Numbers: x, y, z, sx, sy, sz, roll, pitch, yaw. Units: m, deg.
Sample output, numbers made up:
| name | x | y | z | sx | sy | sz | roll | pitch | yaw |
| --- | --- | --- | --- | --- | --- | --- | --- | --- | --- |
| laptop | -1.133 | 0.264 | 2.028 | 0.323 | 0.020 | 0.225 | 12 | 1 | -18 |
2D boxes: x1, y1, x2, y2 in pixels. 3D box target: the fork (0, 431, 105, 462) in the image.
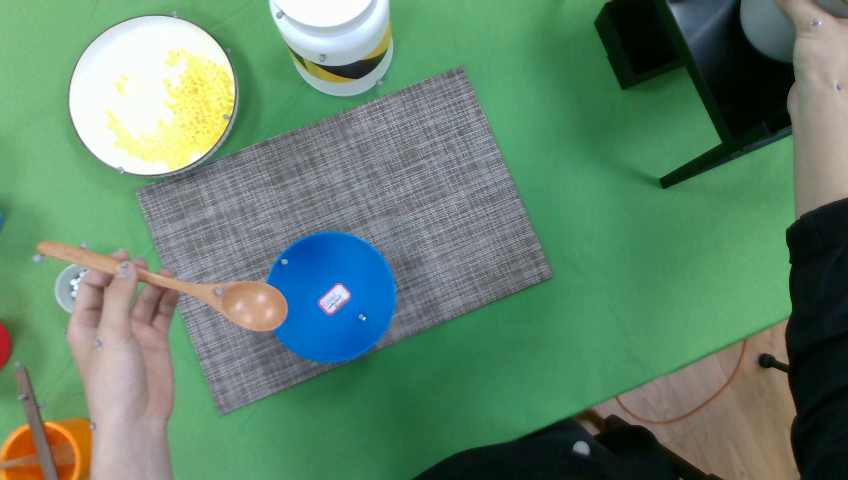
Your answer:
| name | x | y | z | sx | sy | sz | roll | pitch | yaw |
| --- | --- | --- | --- | --- | --- | --- | --- | --- | --- |
| fork | -0.466 | 0.240 | 0.666 | 0.209 | 0.018 | 0.028 | 3 | 84 | -45 |

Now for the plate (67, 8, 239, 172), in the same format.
| name | x | y | z | sx | sy | sz | roll | pitch | yaw |
| --- | --- | --- | --- | --- | --- | --- | --- | --- | --- |
| plate | -0.336 | -0.185 | 0.765 | 0.209 | 0.038 | 0.208 | 0 | 85 | -2 |

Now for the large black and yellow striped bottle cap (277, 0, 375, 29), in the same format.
| name | x | y | z | sx | sy | sz | roll | pitch | yaw |
| --- | --- | --- | --- | --- | --- | --- | --- | --- | --- |
| large black and yellow striped bottle cap | -0.102 | -0.275 | 0.622 | 0.115 | 0.019 | 0.114 | 0 | 85 | 0 |

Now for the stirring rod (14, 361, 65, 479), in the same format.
| name | x | y | z | sx | sy | sz | roll | pitch | yaw |
| --- | --- | --- | --- | --- | --- | --- | --- | --- | --- |
| stirring rod | -0.418 | 0.217 | 0.667 | 0.014 | 0.006 | 0.176 | -20 | 86 | -5 |

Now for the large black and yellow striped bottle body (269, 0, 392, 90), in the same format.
| name | x | y | z | sx | sy | sz | roll | pitch | yaw |
| --- | --- | --- | --- | --- | --- | --- | --- | --- | --- |
| large black and yellow striped bottle body | -0.105 | -0.267 | 0.705 | 0.131 | 0.184 | 0.130 | 0 | 84 | -1 |

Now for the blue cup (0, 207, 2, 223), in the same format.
| name | x | y | z | sx | sy | sz | roll | pitch | yaw |
| --- | --- | --- | --- | --- | --- | --- | --- | --- | --- |
| blue cup | -0.560 | -0.035 | 0.712 | 0.092 | 0.100 | 0.092 | 0 | 85 | 0 |

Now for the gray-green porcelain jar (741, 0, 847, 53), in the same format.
| name | x | y | z | sx | sy | sz | roll | pitch | yaw |
| --- | --- | --- | --- | --- | --- | --- | --- | --- | --- |
| gray-green porcelain jar | 0.372 | -0.243 | 0.566 | 0.106 | 0.126 | 0.105 | 0 | 84 | 0 |

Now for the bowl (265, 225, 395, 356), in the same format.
| name | x | y | z | sx | sy | sz | roll | pitch | yaw |
| --- | --- | --- | --- | --- | --- | --- | --- | --- | --- |
| bowl | -0.108 | 0.061 | 0.725 | 0.151 | 0.077 | 0.151 | 0 | 85 | -1 |

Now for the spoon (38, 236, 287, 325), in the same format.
| name | x | y | z | sx | sy | sz | roll | pitch | yaw |
| --- | --- | --- | --- | --- | --- | --- | --- | --- | --- |
| spoon | -0.207 | 0.028 | 0.491 | 0.195 | 0.021 | 0.041 | 19 | 93 | -20 |

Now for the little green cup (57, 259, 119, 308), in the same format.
| name | x | y | z | sx | sy | sz | roll | pitch | yaw |
| --- | --- | --- | --- | --- | --- | --- | --- | --- | --- |
| little green cup | -0.408 | 0.053 | 0.740 | 0.061 | 0.038 | 0.061 | 0 | 85 | -1 |
